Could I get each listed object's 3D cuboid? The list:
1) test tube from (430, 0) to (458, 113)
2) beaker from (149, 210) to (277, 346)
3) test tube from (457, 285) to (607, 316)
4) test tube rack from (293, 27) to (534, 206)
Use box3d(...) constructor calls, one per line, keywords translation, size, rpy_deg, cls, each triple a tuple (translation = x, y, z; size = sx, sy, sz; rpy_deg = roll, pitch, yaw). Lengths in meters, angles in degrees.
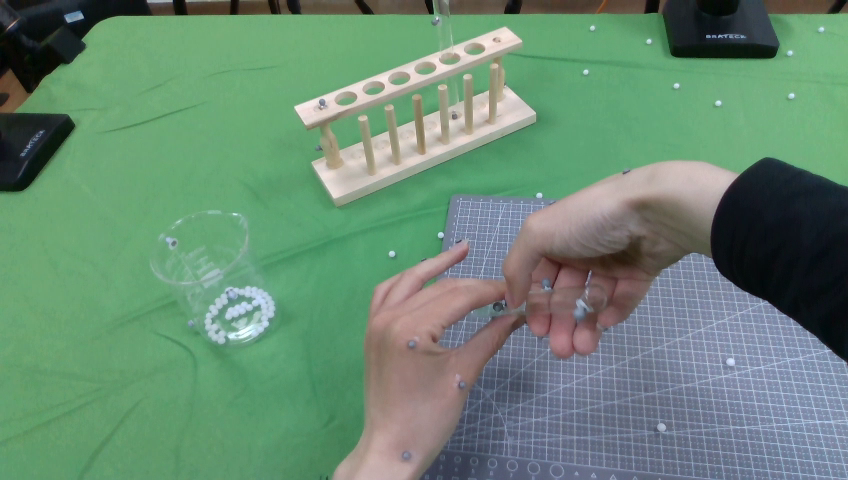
box3d(translation=(0.021, -0.193, 0.614), size=(0.017, 0.152, 0.017), rpy_deg=(-5, 47, 6), cls="test tube")
box3d(translation=(-0.166, 0.034, 0.501), size=(0.073, 0.101, 0.084), rpy_deg=(26, 57, 25), cls="beaker")
box3d(translation=(0.062, 0.041, 0.397), size=(0.017, 0.150, 0.017), rpy_deg=(4, 81, -26), cls="test tube")
box3d(translation=(-0.003, -0.131, 0.630), size=(0.242, 0.086, 0.066), rpy_deg=(-25, 52, -14), cls="test tube rack")
